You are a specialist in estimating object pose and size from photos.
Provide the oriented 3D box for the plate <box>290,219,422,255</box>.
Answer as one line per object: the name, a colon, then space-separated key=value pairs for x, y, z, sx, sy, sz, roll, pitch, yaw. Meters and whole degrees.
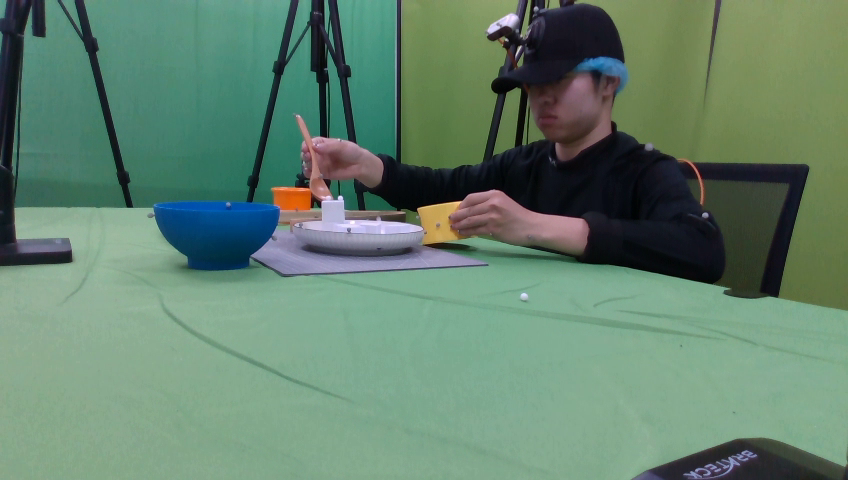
plate: x=-0.108 y=-0.005 z=0.963 sx=0.208 sy=0.039 sz=0.207 roll=2 pitch=7 yaw=0

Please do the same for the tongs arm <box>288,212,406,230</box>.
tongs arm: x=-0.145 y=-0.042 z=1.279 sx=0.028 sy=0.028 sz=0.389 roll=2 pitch=4 yaw=33

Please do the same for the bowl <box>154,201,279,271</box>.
bowl: x=-0.263 y=-0.005 z=0.773 sx=0.151 sy=0.077 sz=0.151 roll=3 pitch=8 yaw=0

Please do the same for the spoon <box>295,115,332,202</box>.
spoon: x=-0.194 y=-0.142 z=1.041 sx=0.042 sy=0.193 sz=0.021 roll=9 pitch=-35 yaw=-44

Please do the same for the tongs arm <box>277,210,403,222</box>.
tongs arm: x=-0.206 y=-0.052 z=1.332 sx=0.387 sy=0.026 sz=0.050 roll=-2 pitch=7 yaw=-44

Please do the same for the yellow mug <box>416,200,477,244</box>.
yellow mug: x=0.048 y=-0.032 z=1.042 sx=0.100 sy=0.064 sz=0.130 roll=-9 pitch=2 yaw=-31
